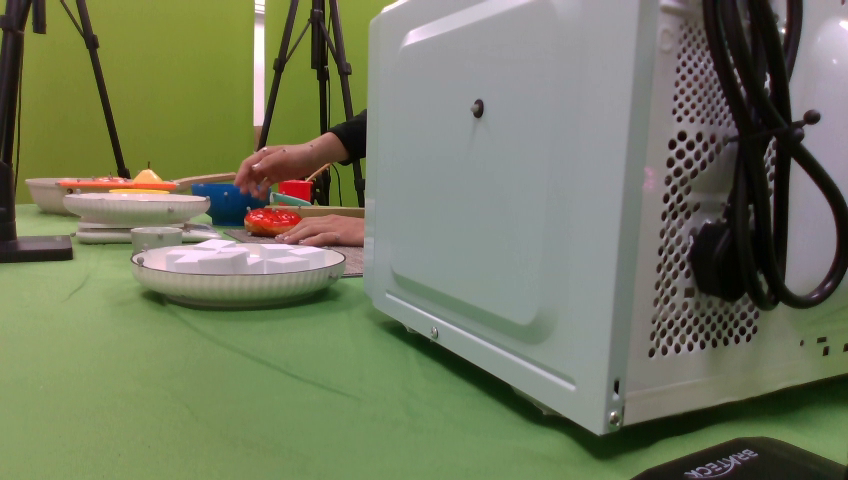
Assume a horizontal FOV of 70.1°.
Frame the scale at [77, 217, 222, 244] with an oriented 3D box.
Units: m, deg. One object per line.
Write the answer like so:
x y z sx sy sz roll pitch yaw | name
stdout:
-0.434 -0.018 0.963 0.202 0.031 0.148 -1 8 -27 | scale

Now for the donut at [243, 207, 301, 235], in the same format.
-0.261 -0.032 1.043 0.099 0.048 0.099 5 9 0 | donut

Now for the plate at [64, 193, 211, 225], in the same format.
-0.446 -0.050 0.952 0.209 0.038 0.209 2 7 0 | plate

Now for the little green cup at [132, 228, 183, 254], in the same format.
-0.342 0.006 0.779 0.061 0.038 0.061 2 8 0 | little green cup

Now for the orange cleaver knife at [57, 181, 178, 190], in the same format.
-0.600 -0.109 1.189 0.212 0.012 0.077 -1 11 -26 | orange cleaver knife

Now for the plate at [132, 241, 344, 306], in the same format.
-0.187 0.033 0.625 0.208 0.039 0.207 2 7 0 | plate

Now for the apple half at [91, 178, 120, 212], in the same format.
-0.677 -0.096 1.271 0.033 0.081 0.081 7 8 10 | apple half

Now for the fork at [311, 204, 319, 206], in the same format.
-0.356 -0.105 1.526 0.208 0.018 0.028 16 -5 -41 | fork

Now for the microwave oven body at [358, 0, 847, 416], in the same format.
0.211 -0.047 0.474 0.444 0.260 0.324 -1 7 -28 | microwave oven body

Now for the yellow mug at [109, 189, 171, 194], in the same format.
-0.519 -0.055 1.081 0.099 0.064 0.131 7 10 26 | yellow mug

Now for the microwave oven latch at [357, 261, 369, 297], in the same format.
-0.019 0.033 0.530 0.079 0.029 0.030 -1 7 -26 | microwave oven latch

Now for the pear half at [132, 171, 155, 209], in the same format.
-0.636 -0.113 1.362 0.031 0.088 0.070 2 13 1 | pear half

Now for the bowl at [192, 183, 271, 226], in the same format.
-0.382 -0.071 1.202 0.151 0.077 0.151 3 7 0 | bowl

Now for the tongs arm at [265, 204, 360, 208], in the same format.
-0.210 -0.068 1.439 0.389 0.027 0.028 1 -1 -17 | tongs arm

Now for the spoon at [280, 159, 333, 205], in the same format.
-0.317 -0.159 1.640 0.194 0.022 0.041 -49 32 -20 | spoon

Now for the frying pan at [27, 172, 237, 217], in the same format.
-0.624 -0.118 1.387 0.305 0.102 0.490 8 17 32 | frying pan

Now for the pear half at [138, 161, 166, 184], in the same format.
-0.602 -0.120 1.354 0.056 0.110 0.076 4 11 5 | pear half

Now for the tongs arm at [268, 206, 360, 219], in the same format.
-0.173 -0.061 1.362 0.387 0.026 0.050 -1 3 -31 | tongs arm

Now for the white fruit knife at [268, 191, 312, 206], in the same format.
-0.364 -0.105 1.464 0.208 0.027 0.016 15 0 -34 | white fruit knife

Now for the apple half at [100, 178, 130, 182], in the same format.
-0.638 -0.093 1.266 0.053 0.074 0.081 7 5 10 | apple half

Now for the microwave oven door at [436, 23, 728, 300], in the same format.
0.180 -0.072 0.621 0.358 0.243 0.039 -2 9 -29 | microwave oven door
